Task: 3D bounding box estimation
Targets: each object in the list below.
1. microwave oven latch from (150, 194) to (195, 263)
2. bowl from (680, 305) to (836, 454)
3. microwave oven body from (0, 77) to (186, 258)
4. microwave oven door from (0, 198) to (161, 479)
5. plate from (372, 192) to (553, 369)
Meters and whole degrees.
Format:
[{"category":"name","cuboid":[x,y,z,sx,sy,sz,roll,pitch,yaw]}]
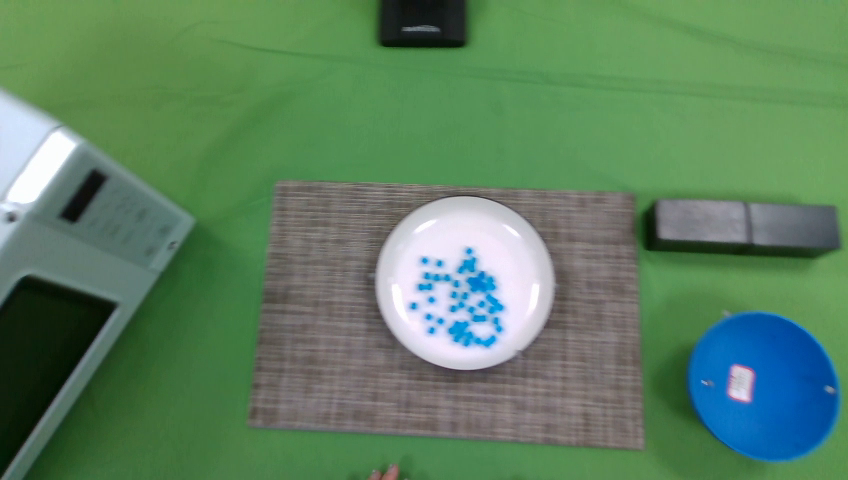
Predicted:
[{"category":"microwave oven latch","cuboid":[-0.308,-0.014,0.727,0.030,0.029,0.079,31,80,9]},{"category":"bowl","cuboid":[0.345,0.151,0.655,0.151,0.077,0.150,-1,75,3]},{"category":"microwave oven body","cuboid":[-0.530,0.040,0.622,0.325,0.261,0.440,29,79,9]},{"category":"microwave oven door","cuboid":[-0.426,0.144,0.587,0.039,0.245,0.355,29,79,10]},{"category":"plate","cuboid":[0.044,0.047,0.711,0.207,0.039,0.206,0,76,2]}]
